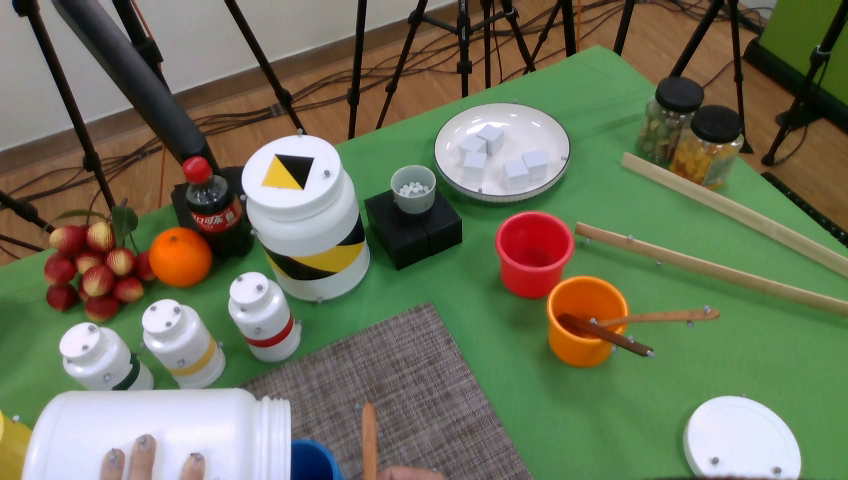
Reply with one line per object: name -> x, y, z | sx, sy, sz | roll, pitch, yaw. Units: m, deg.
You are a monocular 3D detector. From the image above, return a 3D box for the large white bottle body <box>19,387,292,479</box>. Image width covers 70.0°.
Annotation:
large white bottle body -> -0.205, 0.187, 0.493 | 0.185, 0.131, 0.129 | 3, 49, -16

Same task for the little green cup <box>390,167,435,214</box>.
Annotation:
little green cup -> -0.015, -0.066, 0.823 | 0.061, 0.039, 0.061 | -1, 48, 2

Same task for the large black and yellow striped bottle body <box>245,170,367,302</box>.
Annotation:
large black and yellow striped bottle body -> -0.149, -0.021, 0.770 | 0.131, 0.186, 0.129 | -2, 51, 3

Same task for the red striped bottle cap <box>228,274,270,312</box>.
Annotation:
red striped bottle cap -> -0.197, 0.059, 0.683 | 0.044, 0.018, 0.044 | 0, 48, 1

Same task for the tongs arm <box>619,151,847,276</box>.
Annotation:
tongs arm -> 0.436, -0.029, 0.829 | 0.384, 0.028, 0.028 | 35, 55, 27

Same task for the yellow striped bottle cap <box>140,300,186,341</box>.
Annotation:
yellow striped bottle cap -> -0.287, 0.088, 0.667 | 0.044, 0.019, 0.044 | 0, 47, 1

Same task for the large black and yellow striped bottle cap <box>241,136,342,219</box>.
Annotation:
large black and yellow striped bottle cap -> -0.153, -0.074, 0.702 | 0.115, 0.019, 0.114 | -3, 54, 5

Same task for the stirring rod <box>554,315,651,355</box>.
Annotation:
stirring rod -> 0.193, 0.104, 0.675 | 0.014, 0.006, 0.175 | -20, 9, -15

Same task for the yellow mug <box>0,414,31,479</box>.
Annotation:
yellow mug -> -0.496, 0.247, 0.659 | 0.100, 0.064, 0.129 | -14, 52, -7

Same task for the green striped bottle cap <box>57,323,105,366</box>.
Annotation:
green striped bottle cap -> -0.370, 0.113, 0.654 | 0.044, 0.020, 0.044 | -1, 50, 2

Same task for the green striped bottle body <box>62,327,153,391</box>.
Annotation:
green striped bottle body -> -0.365, 0.145, 0.695 | 0.063, 0.120, 0.062 | -2, 51, 3

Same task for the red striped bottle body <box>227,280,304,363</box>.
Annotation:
red striped bottle body -> -0.192, 0.093, 0.725 | 0.063, 0.121, 0.062 | -6, 50, 8

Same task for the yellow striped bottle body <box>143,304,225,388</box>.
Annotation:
yellow striped bottle body -> -0.283, 0.120, 0.708 | 0.063, 0.121, 0.062 | -2, 51, 3

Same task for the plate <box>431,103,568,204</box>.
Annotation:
plate -> 0.114, -0.130, 0.930 | 0.209, 0.038, 0.207 | -2, 52, 3

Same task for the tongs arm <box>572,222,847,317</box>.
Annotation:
tongs arm -> 0.386, 0.030, 0.782 | 0.383, 0.027, 0.050 | 20, 52, 18

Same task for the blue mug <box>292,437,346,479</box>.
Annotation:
blue mug -> -0.125, 0.263, 0.586 | 0.082, 0.107, 0.116 | 27, 58, 24

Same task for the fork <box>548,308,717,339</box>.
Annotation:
fork -> 0.222, 0.091, 0.674 | 0.207, 0.019, 0.028 | -19, 33, 50

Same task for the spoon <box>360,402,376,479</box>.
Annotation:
spoon -> -0.045, 0.238, 0.521 | 0.041, 0.022, 0.192 | -3, 72, -1

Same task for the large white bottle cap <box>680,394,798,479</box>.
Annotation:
large white bottle cap -> 0.335, 0.220, 0.647 | 0.115, 0.018, 0.113 | -2, 51, 3
